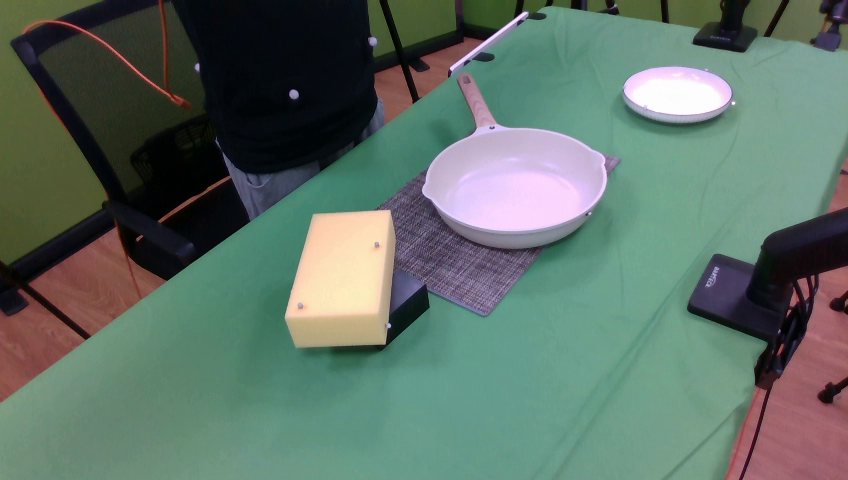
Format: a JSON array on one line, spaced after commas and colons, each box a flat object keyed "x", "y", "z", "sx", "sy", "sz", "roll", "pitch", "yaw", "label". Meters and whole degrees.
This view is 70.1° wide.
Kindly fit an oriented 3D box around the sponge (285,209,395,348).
[{"x": -0.107, "y": 0.047, "z": 0.823, "sx": 0.118, "sy": 0.061, "sz": 0.206, "roll": -3, "pitch": 41, "yaw": 4, "label": "sponge"}]

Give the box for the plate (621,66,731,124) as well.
[{"x": 0.504, "y": -0.288, "z": 1.221, "sx": 0.207, "sy": 0.039, "sz": 0.206, "roll": -4, "pitch": 41, "yaw": 4, "label": "plate"}]

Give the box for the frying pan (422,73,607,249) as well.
[{"x": 0.130, "y": -0.161, "z": 1.069, "sx": 0.307, "sy": 0.103, "sz": 0.484, "roll": -10, "pitch": 49, "yaw": -6, "label": "frying pan"}]
